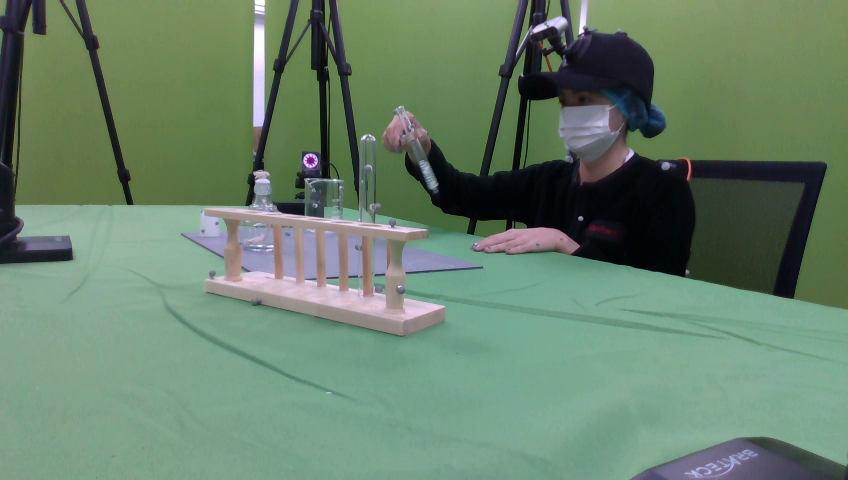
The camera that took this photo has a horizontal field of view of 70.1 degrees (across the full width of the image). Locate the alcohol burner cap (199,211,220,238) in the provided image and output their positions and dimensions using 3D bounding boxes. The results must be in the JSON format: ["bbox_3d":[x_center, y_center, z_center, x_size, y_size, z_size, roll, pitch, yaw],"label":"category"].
[{"bbox_3d":[-0.356,-0.027,1.002,0.034,0.048,0.034,2,7,0],"label":"alcohol burner cap"}]

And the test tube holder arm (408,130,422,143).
[{"bbox_3d":[-0.025,-0.174,1.037,0.010,0.015,0.087,-20,7,-21],"label":"test tube holder arm"}]

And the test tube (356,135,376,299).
[{"bbox_3d":[-0.053,-0.019,0.550,0.017,0.150,0.017,2,9,0],"label":"test tube"}]

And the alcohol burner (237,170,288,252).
[{"bbox_3d":[-0.236,-0.042,0.882,0.078,0.119,0.078,2,9,0],"label":"alcohol burner"}]

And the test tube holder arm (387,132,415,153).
[{"bbox_3d":[-0.044,-0.173,1.078,0.013,0.015,0.178,-19,6,-15],"label":"test tube holder arm"}]

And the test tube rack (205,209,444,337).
[{"bbox_3d":[-0.100,0.021,0.565,0.241,0.085,0.067,7,9,32],"label":"test tube rack"}]

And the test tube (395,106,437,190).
[{"bbox_3d":[-0.012,-0.154,1.015,0.017,0.150,0.017,-24,6,3],"label":"test tube"}]

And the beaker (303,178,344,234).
[{"bbox_3d":[-0.189,-0.063,1.119,0.073,0.100,0.084,6,9,28],"label":"beaker"}]
